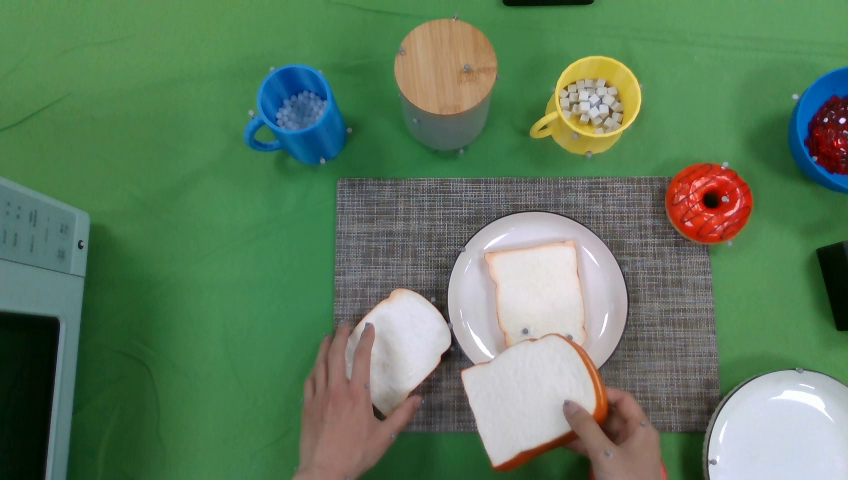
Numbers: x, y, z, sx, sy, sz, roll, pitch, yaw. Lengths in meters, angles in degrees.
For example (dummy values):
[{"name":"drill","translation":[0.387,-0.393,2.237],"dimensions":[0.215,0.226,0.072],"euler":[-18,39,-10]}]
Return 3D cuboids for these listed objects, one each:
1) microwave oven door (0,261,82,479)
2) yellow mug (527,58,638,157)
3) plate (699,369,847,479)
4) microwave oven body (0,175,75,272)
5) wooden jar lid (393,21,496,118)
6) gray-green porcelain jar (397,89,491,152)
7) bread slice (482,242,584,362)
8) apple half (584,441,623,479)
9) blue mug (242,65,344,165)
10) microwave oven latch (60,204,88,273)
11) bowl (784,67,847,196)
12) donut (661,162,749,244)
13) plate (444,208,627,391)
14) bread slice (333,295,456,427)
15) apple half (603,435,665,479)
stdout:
[{"name":"microwave oven door","translation":[-0.422,0.196,0.571],"dimensions":[0.039,0.244,0.354],"euler":[0,80,1]},{"name":"yellow mug","translation":[0.185,-0.152,0.730],"dimensions":[0.131,0.064,0.099],"euler":[-24,80,-3]},{"name":"plate","translation":[0.407,0.247,0.671],"dimensions":[0.209,0.038,0.208],"euler":[0,80,2]},{"name":"microwave oven body","translation":[-0.567,0.155,0.585],"dimensions":[0.326,0.261,0.440],"euler":[0,81,1]},{"name":"wooden jar lid","translation":[0.021,-0.179,0.643],"dimensions":[0.108,0.021,0.108],"euler":[0,78,2]},{"name":"gray-green porcelain jar","translation":[0.023,-0.167,0.704],"dimensions":[0.106,0.127,0.105],"euler":[0,80,1]},{"name":"bread slice","translation":[0.133,0.073,0.704],"dimensions":[0.107,0.018,0.133],"euler":[-11,79,-1]},{"name":"apple half","translation":[0.190,0.258,0.654],"dimensions":[0.033,0.081,0.081],"euler":[-7,79,-5]},{"name":"blue mug","translation":[-0.157,-0.136,0.712],"dimensions":[0.116,0.106,0.082],"euler":[-26,80,-3]},{"name":"microwave oven latch","translation":[-0.416,-0.002,0.708],"dimensions":[0.030,0.029,0.079],"euler":[4,81,1]},{"name":"bowl","translation":[0.489,-0.117,0.712],"dimensions":[0.151,0.077,0.151],"euler":[0,81,1]},{"name":"donut","translation":[0.331,-0.044,0.716],"dimensions":[0.099,0.048,0.098],"euler":[0,81,1]},{"name":"plate","translation":[0.127,0.068,0.703],"dimensions":[0.208,0.039,0.207],"euler":[0,80,1]},{"name":"bread slice","translation":[-0.024,0.132,0.693],"dimensions":[0.105,0.019,0.131],"euler":[34,80,-3]},{"name":"apple half","translation":[0.229,0.251,0.656],"dimensions":[0.053,0.075,0.080],"euler":[-9,78,-5]}]
